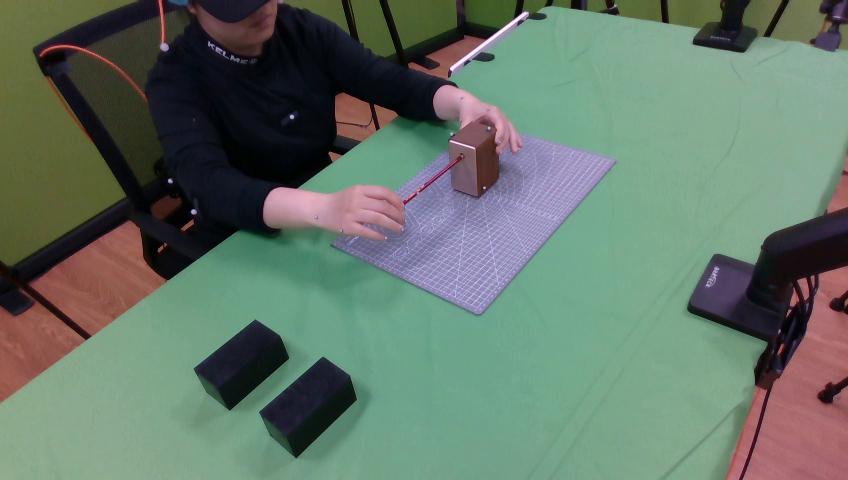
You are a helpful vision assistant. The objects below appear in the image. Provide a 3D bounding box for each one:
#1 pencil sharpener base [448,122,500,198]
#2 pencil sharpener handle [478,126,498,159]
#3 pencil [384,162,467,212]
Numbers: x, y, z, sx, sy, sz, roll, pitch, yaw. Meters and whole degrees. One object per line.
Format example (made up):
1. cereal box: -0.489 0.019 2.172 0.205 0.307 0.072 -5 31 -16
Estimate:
1. pencil sharpener base: 0.090 -0.140 1.052 0.061 0.107 0.077 22 48 31
2. pencil sharpener handle: 0.119 -0.178 1.074 0.035 0.068 0.031 22 48 30
3. pencil: 0.010 -0.090 0.971 0.195 0.012 0.012 -33 46 -32
